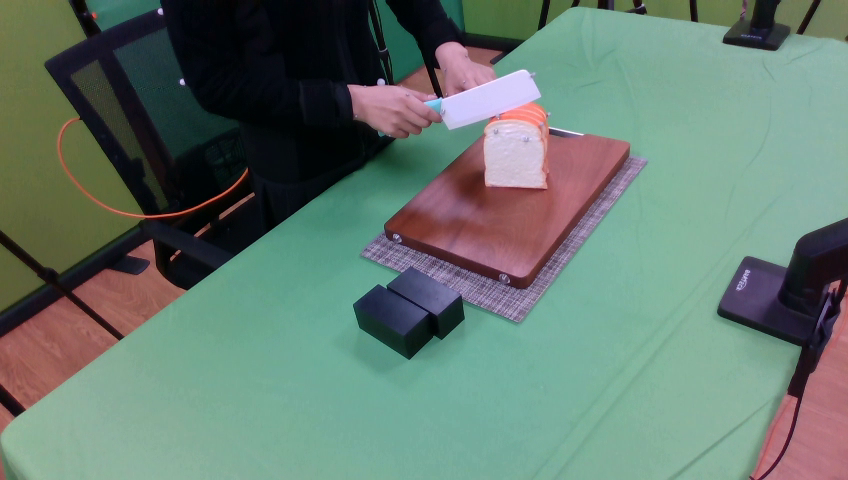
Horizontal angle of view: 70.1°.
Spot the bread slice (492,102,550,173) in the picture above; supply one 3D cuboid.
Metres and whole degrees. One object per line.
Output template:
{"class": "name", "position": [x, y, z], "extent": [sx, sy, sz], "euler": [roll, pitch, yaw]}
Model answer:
{"class": "bread slice", "position": [0.165, -0.176, 1.031], "extent": [0.104, 0.132, 0.019], "euler": [4, 37, 14]}

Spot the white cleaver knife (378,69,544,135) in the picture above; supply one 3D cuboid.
{"class": "white cleaver knife", "position": [0.049, -0.207, 0.972], "extent": [0.285, 0.066, 0.021], "euler": [-11, 38, 27]}

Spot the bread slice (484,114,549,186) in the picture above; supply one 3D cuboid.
{"class": "bread slice", "position": [0.148, -0.145, 0.995], "extent": [0.106, 0.135, 0.018], "euler": [0, 42, 17]}
